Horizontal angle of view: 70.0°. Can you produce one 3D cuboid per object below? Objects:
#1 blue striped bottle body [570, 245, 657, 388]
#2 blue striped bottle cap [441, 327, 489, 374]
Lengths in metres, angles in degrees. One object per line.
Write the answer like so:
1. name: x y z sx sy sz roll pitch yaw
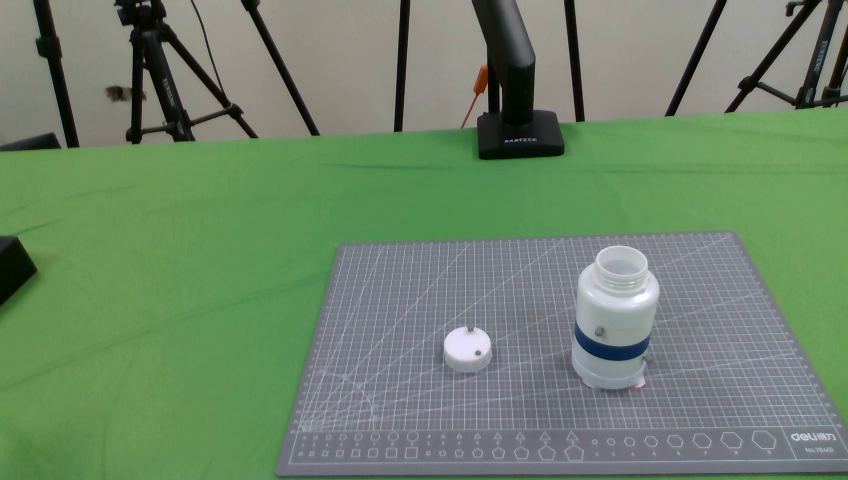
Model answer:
1. blue striped bottle body: 0.157 0.062 0.505 0.063 0.122 0.062 -4 38 3
2. blue striped bottle cap: 0.038 0.101 0.558 0.044 0.021 0.044 -3 36 2
